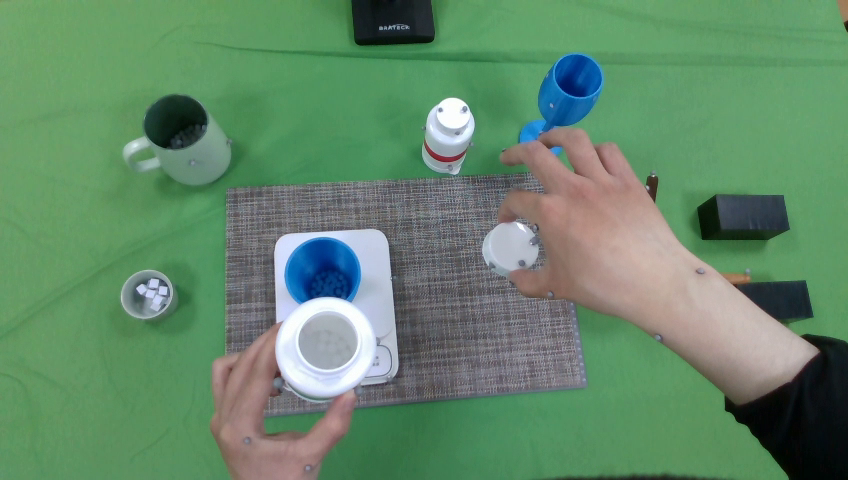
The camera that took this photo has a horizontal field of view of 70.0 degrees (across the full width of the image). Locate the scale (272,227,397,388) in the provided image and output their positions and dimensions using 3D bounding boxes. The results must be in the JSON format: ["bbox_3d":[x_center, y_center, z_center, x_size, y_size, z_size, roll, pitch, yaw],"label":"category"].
[{"bbox_3d":[-0.115,0.083,0.773,0.149,0.032,0.199,-5,75,-6],"label":"scale"}]

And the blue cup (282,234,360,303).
[{"bbox_3d":[-0.118,0.047,0.715,0.093,0.100,0.092,1,76,-5],"label":"blue cup"}]

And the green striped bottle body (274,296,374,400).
[{"bbox_3d":[-0.068,0.075,0.412,0.063,0.119,0.063,3,73,-10],"label":"green striped bottle body"}]

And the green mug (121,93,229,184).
[{"bbox_3d":[-0.322,-0.121,0.779,0.125,0.105,0.092,-26,78,-11],"label":"green mug"}]

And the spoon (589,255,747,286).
[{"bbox_3d":[0.301,0.041,0.766,0.022,0.192,0.041,19,76,-45],"label":"spoon"}]

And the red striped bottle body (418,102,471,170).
[{"bbox_3d":[0.027,-0.144,0.808,0.063,0.120,0.062,1,74,-5],"label":"red striped bottle body"}]

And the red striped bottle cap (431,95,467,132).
[{"bbox_3d":[0.031,-0.158,0.757,0.044,0.018,0.044,1,71,-4],"label":"red striped bottle cap"}]

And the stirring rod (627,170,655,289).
[{"bbox_3d":[0.278,-0.008,0.778,0.014,0.177,0.006,1,33,9],"label":"stirring rod"}]

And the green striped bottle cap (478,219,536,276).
[{"bbox_3d":[0.067,0.006,0.491,0.044,0.020,0.044,5,62,-9],"label":"green striped bottle cap"}]

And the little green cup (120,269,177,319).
[{"bbox_3d":[-0.340,0.070,0.757,0.061,0.039,0.061,2,74,-6],"label":"little green cup"}]

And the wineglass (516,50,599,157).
[{"bbox_3d":[0.172,-0.175,0.802,0.074,0.173,0.073,1,74,-4],"label":"wineglass"}]
